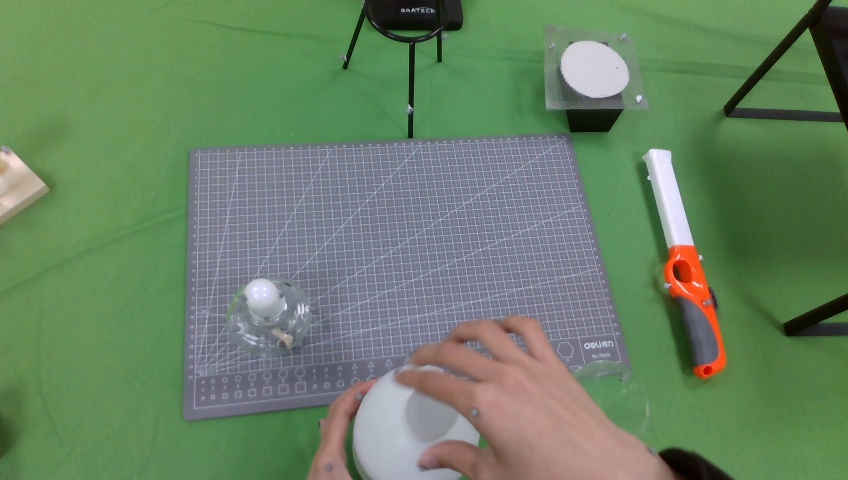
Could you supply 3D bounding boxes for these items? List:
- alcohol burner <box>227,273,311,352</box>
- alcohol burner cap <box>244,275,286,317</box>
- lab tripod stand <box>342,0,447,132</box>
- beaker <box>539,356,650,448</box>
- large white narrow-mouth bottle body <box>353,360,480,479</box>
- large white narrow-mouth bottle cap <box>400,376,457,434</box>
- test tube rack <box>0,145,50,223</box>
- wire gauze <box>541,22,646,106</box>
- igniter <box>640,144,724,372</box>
[{"bbox_3d":[-0.145,0.061,0.562,0.078,0.120,0.077,4,64,-8],"label":"alcohol burner"},{"bbox_3d":[-0.140,0.048,0.528,0.034,0.048,0.033,1,72,-4],"label":"alcohol burner cap"},{"bbox_3d":[-0.025,-0.220,0.694,0.149,0.132,0.147,4,67,-8],"label":"lab tripod stand"},{"bbox_3d":[0.152,0.155,0.572,0.084,0.101,0.073,27,65,6],"label":"beaker"},{"bbox_3d":[-0.007,0.154,0.499,0.102,0.196,0.101,3,65,-5],"label":"large white narrow-mouth bottle body"},{"bbox_3d":[0.003,0.112,0.412,0.038,0.024,0.037,3,65,-6],"label":"large white narrow-mouth bottle cap"},{"bbox_3d":[-0.496,-0.015,0.566,0.066,0.085,0.242,41,67,11],"label":"test tube rack"},{"bbox_3d":[0.202,-0.213,0.736,0.122,0.011,0.124,3,66,-6],"label":"wire gauze"},{"bbox_3d":[0.292,0.013,0.691,0.057,0.025,0.274,3,66,-18],"label":"igniter"}]
